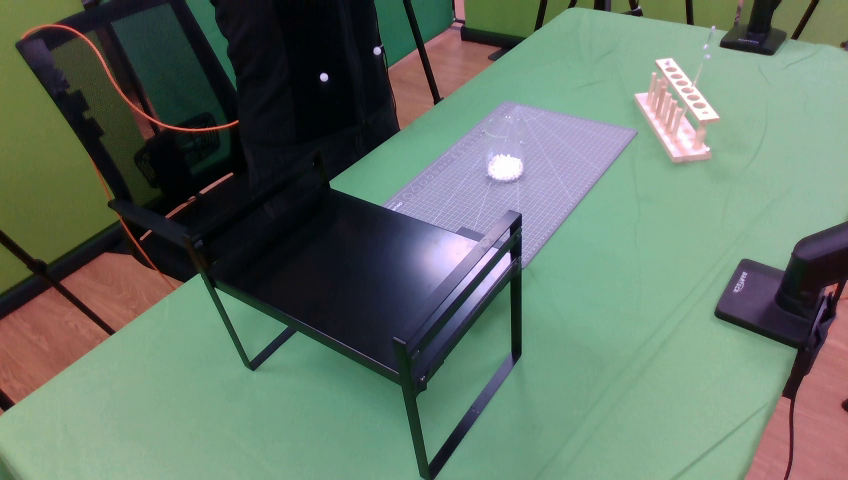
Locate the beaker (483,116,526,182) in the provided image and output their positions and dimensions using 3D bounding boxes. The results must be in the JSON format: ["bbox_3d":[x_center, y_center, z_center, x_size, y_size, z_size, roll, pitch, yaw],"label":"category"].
[{"bbox_3d":[0.147,-0.162,1.079,0.073,0.101,0.084,13,44,22],"label":"beaker"}]

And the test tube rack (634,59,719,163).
[{"bbox_3d":[0.470,-0.251,1.148,0.067,0.085,0.241,-6,40,3],"label":"test tube rack"}]

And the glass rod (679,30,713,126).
[{"bbox_3d":[0.485,-0.284,1.084,0.008,0.200,0.008,-2,49,2],"label":"glass rod"}]
